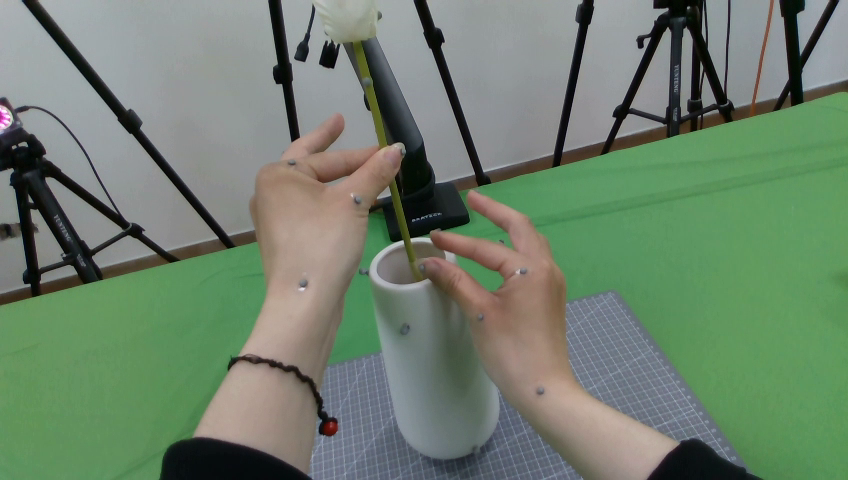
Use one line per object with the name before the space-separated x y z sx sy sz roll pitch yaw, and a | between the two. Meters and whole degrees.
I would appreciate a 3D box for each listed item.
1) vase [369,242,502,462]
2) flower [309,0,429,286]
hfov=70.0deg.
vase | 0.009 0.100 0.526 0.098 0.202 0.097 -10 32 6
flower | -0.013 -0.016 0.431 0.038 0.364 0.043 -24 28 -16
